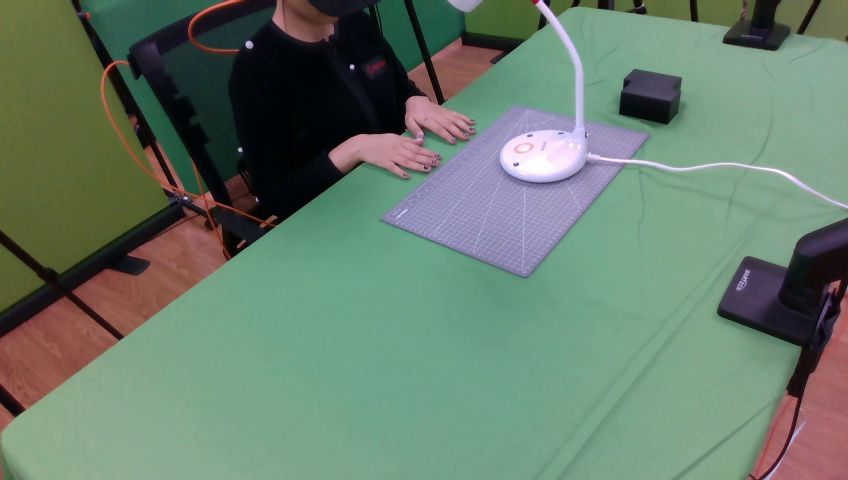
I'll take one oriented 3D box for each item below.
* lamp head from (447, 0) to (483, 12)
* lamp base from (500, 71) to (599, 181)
[{"bbox_3d":[0.084,-0.422,0.915,0.122,0.113,0.112,-21,31,36],"label":"lamp head"},{"bbox_3d":[0.223,-0.217,1.068,0.179,0.181,0.160,2,42,10],"label":"lamp base"}]
